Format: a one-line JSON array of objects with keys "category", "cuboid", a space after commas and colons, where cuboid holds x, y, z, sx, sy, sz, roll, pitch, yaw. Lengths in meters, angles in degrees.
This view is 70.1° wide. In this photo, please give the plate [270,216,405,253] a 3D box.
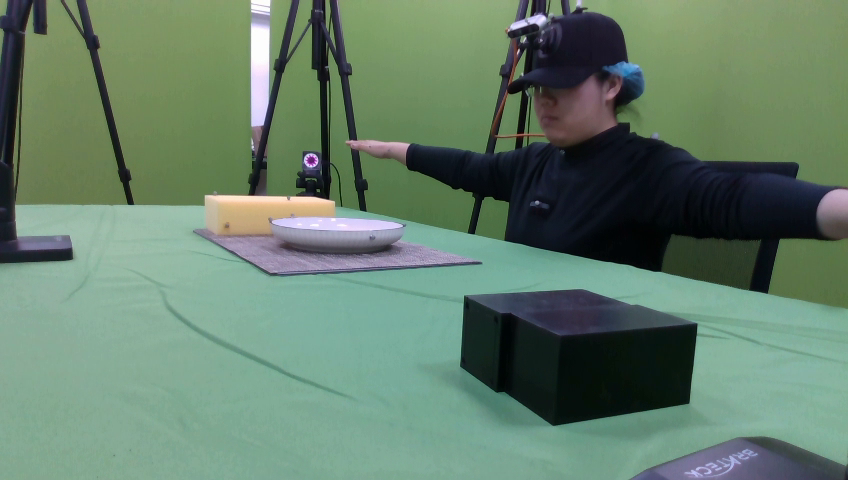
[{"category": "plate", "cuboid": [-0.134, -0.010, 0.946, 0.208, 0.039, 0.207, 2, 7, 0]}]

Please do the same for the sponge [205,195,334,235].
[{"category": "sponge", "cuboid": [-0.280, -0.047, 1.097, 0.208, 0.061, 0.117, -2, 9, -30]}]
